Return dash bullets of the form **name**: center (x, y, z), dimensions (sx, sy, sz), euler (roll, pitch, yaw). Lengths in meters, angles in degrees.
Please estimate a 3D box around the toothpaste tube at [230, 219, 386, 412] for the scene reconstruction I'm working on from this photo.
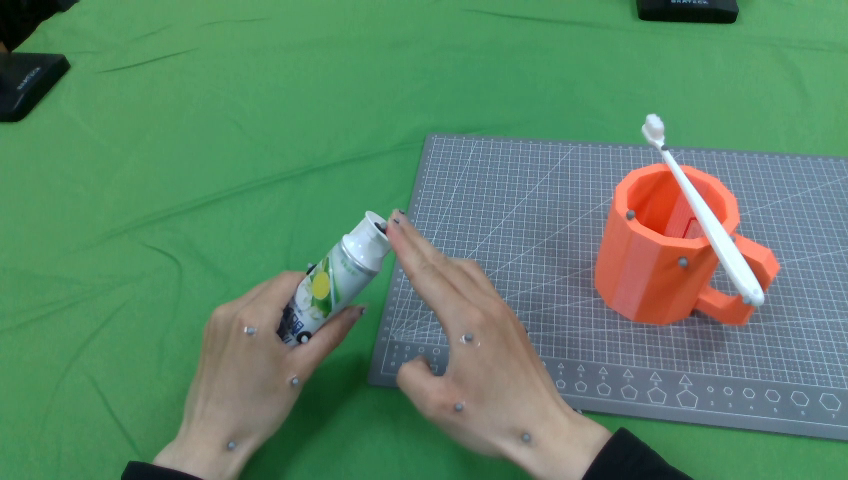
- **toothpaste tube**: center (-0.084, 0.048, 0.432), dimensions (0.165, 0.035, 0.054), euler (-49, 54, 15)

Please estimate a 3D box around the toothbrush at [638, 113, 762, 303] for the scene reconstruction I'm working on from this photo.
- **toothbrush**: center (0.191, -0.031, 0.429), dimensions (0.014, 0.017, 0.180), euler (-7, 50, -5)

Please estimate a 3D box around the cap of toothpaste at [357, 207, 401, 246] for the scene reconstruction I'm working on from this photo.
- **cap of toothpaste**: center (-0.032, -0.008, 0.410), dimensions (0.011, 0.038, 0.037), euler (-50, 55, 11)

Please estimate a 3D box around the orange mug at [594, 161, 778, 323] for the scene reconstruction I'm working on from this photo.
- **orange mug**: center (0.196, 0.010, 0.463), dimensions (0.125, 0.102, 0.083), euler (29, 57, 31)
